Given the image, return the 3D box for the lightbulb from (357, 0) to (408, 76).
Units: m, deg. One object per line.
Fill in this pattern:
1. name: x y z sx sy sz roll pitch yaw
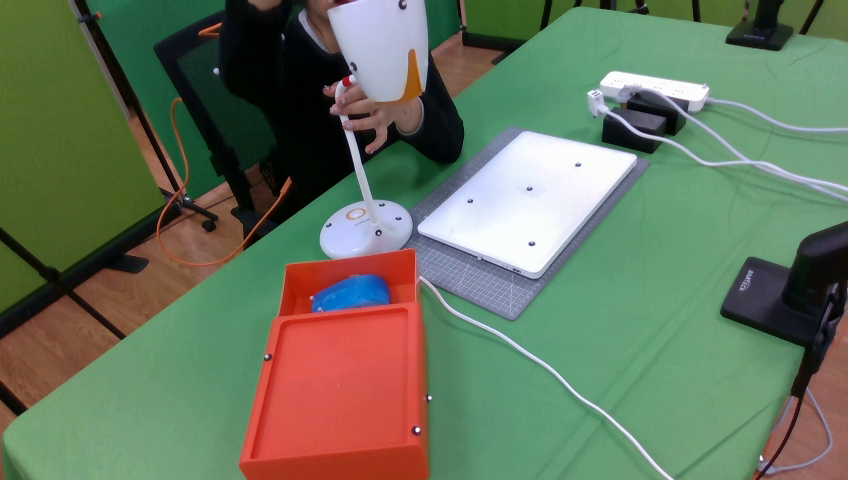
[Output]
1. lightbulb: -0.044 -0.245 0.701 0.059 0.108 0.059 -8 13 2

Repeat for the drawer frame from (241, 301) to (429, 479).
1. drawer frame: -0.096 0.183 0.741 0.202 0.083 0.212 -6 40 3

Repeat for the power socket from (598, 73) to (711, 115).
1. power socket: 0.469 -0.304 1.249 0.225 0.033 0.072 20 49 30

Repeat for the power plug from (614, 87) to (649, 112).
1. power plug: 0.406 -0.275 1.193 0.035 0.053 0.072 -16 24 -16

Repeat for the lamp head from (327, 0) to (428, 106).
1. lamp head: -0.046 -0.220 0.710 0.112 0.123 0.112 -9 24 4

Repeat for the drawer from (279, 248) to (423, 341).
1. drawer: -0.100 0.114 0.828 0.194 0.073 0.210 -7 40 2

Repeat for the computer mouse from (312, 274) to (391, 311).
1. computer mouse: -0.107 0.086 0.885 0.117 0.041 0.062 -14 40 0

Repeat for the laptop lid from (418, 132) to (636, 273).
1. laptop lid: 0.181 -0.084 1.036 0.239 0.013 0.358 22 49 35

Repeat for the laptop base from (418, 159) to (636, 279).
1. laptop base: 0.185 -0.074 1.042 0.233 0.023 0.355 19 48 35

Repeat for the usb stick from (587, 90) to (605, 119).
1. usb stick: 0.334 -0.258 1.170 0.021 0.059 0.027 -28 44 -6

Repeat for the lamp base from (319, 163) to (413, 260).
1. lamp base: -0.102 -0.068 0.962 0.161 0.181 0.177 -30 46 -21
